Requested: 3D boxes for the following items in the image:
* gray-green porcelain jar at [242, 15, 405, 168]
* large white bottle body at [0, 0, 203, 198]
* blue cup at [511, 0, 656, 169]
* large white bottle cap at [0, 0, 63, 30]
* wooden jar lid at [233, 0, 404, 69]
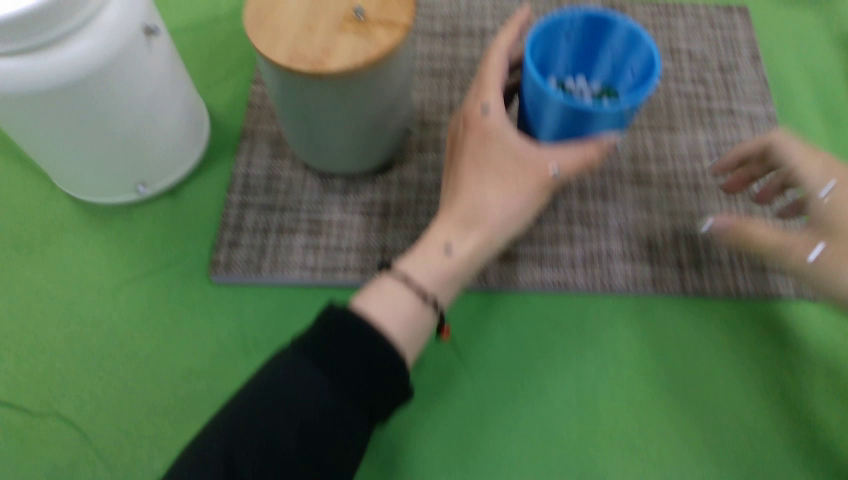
[{"bbox_3d":[-0.067,-0.123,0.446,0.106,0.127,0.105,0,65,0],"label":"gray-green porcelain jar"},{"bbox_3d":[-0.246,-0.127,0.417,0.130,0.186,0.129,0,64,0],"label":"large white bottle body"},{"bbox_3d":[0.099,-0.101,0.420,0.093,0.101,0.092,1,63,-2],"label":"blue cup"},{"bbox_3d":[-0.246,-0.163,0.340,0.115,0.018,0.114,0,65,0],"label":"large white bottle cap"},{"bbox_3d":[-0.066,-0.151,0.390,0.108,0.021,0.107,-1,65,2],"label":"wooden jar lid"}]
